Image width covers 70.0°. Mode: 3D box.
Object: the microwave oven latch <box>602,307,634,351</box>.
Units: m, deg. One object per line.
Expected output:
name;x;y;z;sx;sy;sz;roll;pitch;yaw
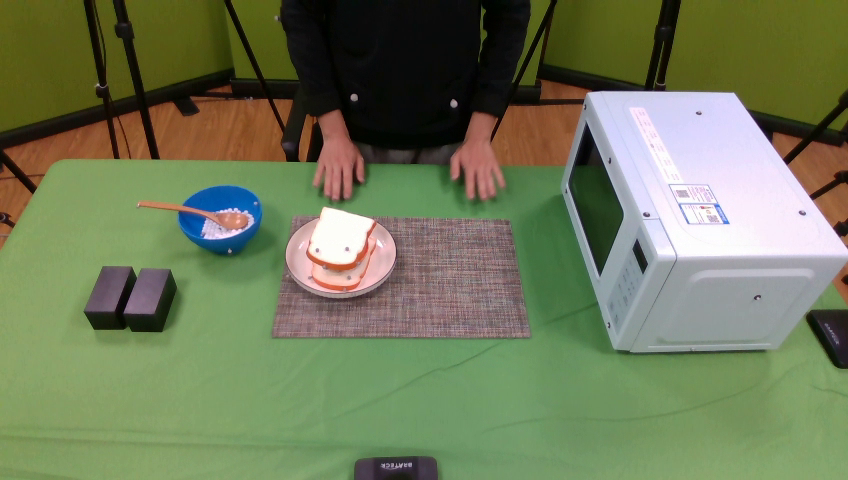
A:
microwave oven latch;0.332;0.153;1.044;0.030;0.029;0.078;-1;45;-4

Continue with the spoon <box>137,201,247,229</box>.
spoon;-0.431;-0.052;1.134;0.194;0.022;0.041;14;45;-22

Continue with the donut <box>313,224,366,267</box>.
donut;-0.155;0.011;1.120;0.099;0.048;0.098;0;42;0

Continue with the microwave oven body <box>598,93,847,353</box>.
microwave oven body;0.475;-0.041;1.110;0.326;0.261;0.438;-1;45;-4

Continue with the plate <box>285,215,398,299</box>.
plate;-0.154;0.034;1.140;0.208;0.039;0.206;2;46;-2

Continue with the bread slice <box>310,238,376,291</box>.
bread slice;-0.154;0.039;1.135;0.107;0.018;0.133;7;46;3

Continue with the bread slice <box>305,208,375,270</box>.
bread slice;-0.154;-0.001;1.095;0.105;0.019;0.131;15;48;1

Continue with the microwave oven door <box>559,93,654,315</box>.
microwave oven door;0.327;-0.074;1.123;0.039;0.245;0.353;0;46;-5

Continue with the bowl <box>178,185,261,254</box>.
bowl;-0.383;-0.027;1.158;0.151;0.077;0.150;2;46;-2
